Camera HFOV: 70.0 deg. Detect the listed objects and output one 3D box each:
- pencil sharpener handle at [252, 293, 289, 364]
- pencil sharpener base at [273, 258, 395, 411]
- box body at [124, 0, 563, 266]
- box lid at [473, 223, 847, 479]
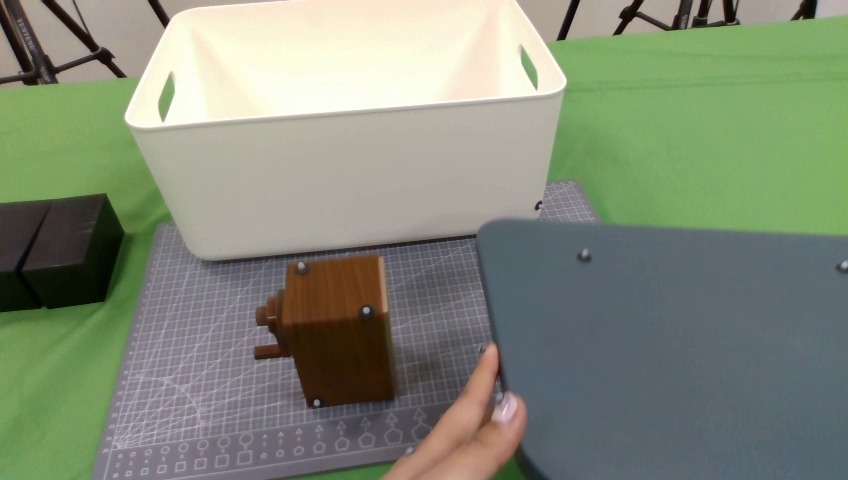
[{"bbox_3d":[-0.115,0.068,0.439,0.031,0.068,0.035,-6,45,-3],"label":"pencil sharpener handle"},{"bbox_3d":[-0.064,0.073,0.450,0.077,0.108,0.060,-6,43,-4],"label":"pencil sharpener base"},{"bbox_3d":[-0.070,-0.121,0.626,0.364,0.162,0.251,-6,42,-5],"label":"box body"},{"bbox_3d":[0.221,0.064,0.394,0.372,0.015,0.261,3,30,-4],"label":"box lid"}]
